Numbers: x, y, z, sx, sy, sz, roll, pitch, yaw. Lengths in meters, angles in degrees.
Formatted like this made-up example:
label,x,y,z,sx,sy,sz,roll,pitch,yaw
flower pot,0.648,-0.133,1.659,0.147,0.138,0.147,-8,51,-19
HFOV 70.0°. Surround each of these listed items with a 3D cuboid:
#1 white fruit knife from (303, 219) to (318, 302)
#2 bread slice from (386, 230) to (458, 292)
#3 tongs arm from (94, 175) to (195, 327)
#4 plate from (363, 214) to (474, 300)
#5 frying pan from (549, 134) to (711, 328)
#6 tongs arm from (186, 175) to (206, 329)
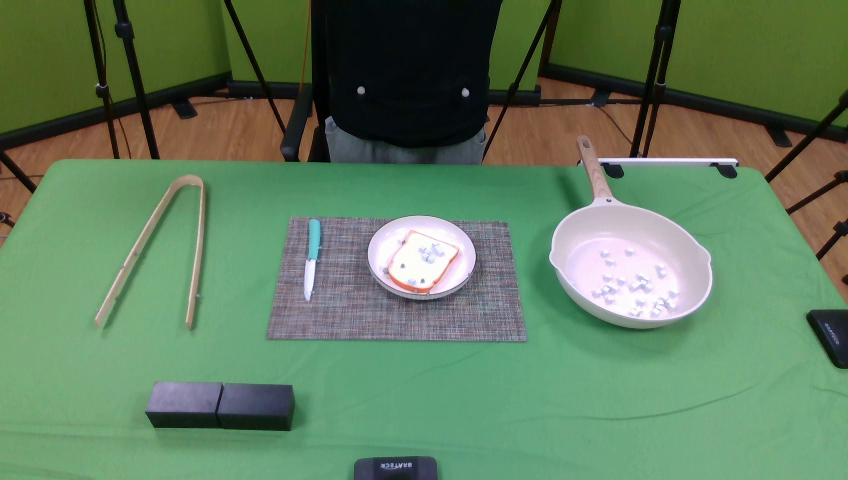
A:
label,x,y,z,sx,sy,sz,roll,pitch,yaw
white fruit knife,-0.216,0.034,1.148,0.027,0.016,0.206,-20,46,16
bread slice,-0.007,0.043,1.142,0.107,0.018,0.134,18,46,14
tongs arm,-0.515,0.006,1.142,0.051,0.026,0.382,4,45,-1
plate,-0.010,0.036,1.146,0.208,0.039,0.206,2,46,-2
frying pan,0.372,-0.035,1.203,0.307,0.103,0.484,-1,55,-6
tongs arm,-0.436,0.009,1.151,0.028,0.028,0.385,-8,47,-8
